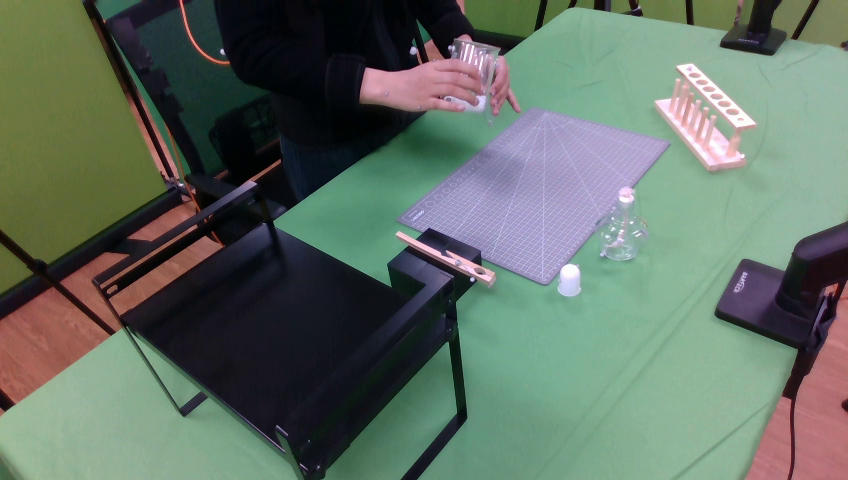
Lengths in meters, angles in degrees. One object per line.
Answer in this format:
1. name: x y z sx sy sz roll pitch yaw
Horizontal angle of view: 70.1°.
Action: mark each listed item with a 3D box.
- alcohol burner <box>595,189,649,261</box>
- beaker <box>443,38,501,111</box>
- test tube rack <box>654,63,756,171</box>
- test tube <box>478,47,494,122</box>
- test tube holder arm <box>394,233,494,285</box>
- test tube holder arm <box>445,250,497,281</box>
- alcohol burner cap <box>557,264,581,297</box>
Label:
1. alcohol burner: 0.294 -0.028 0.894 0.078 0.119 0.077 -4 43 5
2. beaker: 0.073 -0.257 0.946 0.074 0.100 0.084 13 17 0
3. test tube rack: 0.510 -0.233 1.120 0.067 0.085 0.241 -8 41 -1
4. test tube: 0.109 -0.266 1.050 0.017 0.151 0.017 -6 48 8
5. test tube holder arm: 0.025 0.025 0.872 0.177 0.015 0.013 23 57 31
6. test tube holder arm: 0.063 0.036 0.851 0.087 0.015 0.010 23 57 32
7. alcohol burner cap: 0.208 0.055 0.866 0.034 0.048 0.033 -4 41 4
